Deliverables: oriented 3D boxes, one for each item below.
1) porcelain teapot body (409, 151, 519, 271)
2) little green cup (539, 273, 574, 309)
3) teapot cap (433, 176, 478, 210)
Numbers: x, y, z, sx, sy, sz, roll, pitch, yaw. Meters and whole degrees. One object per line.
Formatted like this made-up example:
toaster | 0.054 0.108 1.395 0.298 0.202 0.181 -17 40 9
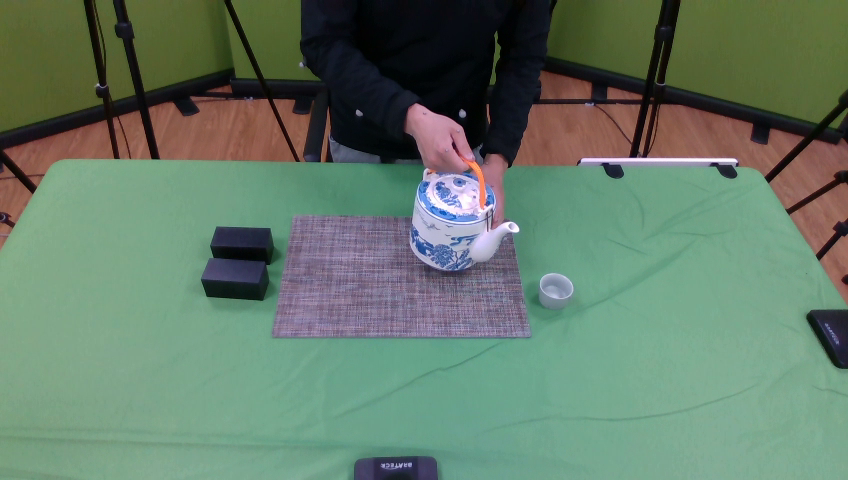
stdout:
porcelain teapot body | 0.076 -0.044 1.071 0.204 0.226 0.145 34 50 21
little green cup | 0.241 0.096 1.113 0.061 0.039 0.061 2 47 -2
teapot cap | 0.058 -0.085 1.053 0.085 0.044 0.084 4 48 -4
